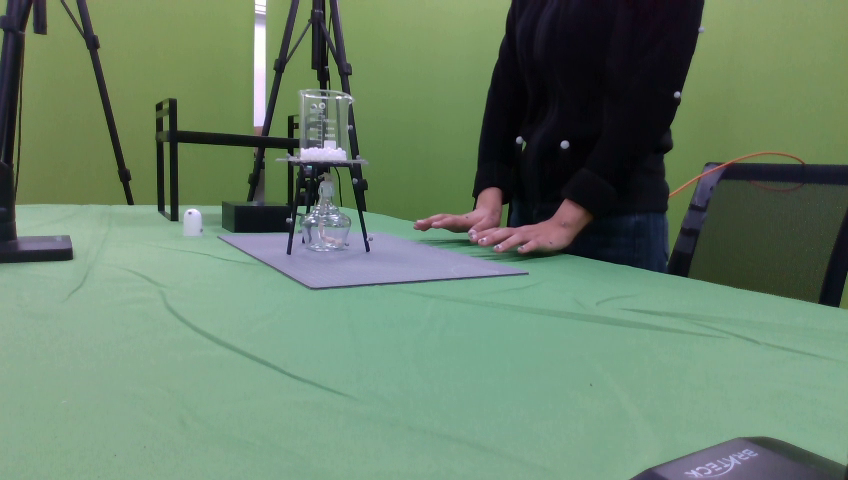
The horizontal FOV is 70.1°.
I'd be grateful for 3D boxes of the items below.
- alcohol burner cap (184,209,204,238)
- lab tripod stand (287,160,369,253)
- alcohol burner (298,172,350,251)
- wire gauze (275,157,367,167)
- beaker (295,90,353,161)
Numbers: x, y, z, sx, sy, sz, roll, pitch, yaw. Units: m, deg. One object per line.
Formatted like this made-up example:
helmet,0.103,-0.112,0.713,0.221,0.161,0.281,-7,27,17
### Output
alcohol burner cap,-0.390,-0.029,1.025,0.034,0.048,0.034,2,9,0
lab tripod stand,-0.157,-0.053,0.902,0.148,0.131,0.148,0,7,0
alcohol burner,-0.149,-0.043,0.911,0.078,0.119,0.078,3,5,0
wire gauze,-0.148,-0.117,0.895,0.121,0.011,0.125,3,5,-3
beaker,-0.146,-0.164,0.884,0.084,0.100,0.074,1,7,-6
